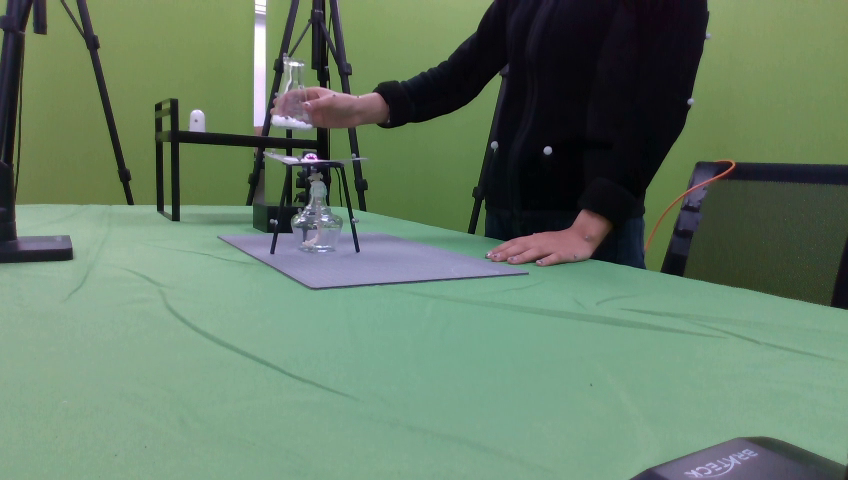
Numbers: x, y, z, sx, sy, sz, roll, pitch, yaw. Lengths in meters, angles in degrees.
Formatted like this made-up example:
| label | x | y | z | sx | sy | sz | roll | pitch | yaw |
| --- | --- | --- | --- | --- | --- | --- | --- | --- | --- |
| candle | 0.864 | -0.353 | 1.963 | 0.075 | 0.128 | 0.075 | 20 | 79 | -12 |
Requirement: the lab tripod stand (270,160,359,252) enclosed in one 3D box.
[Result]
| label | x | y | z | sx | sy | sz | roll | pitch | yaw |
| --- | --- | --- | --- | --- | --- | --- | --- | --- | --- |
| lab tripod stand | -0.166 | -0.051 | 0.892 | 0.148 | 0.131 | 0.148 | 3 | 9 | 0 |

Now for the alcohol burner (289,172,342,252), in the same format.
| label | x | y | z | sx | sy | sz | roll | pitch | yaw |
| --- | --- | --- | --- | --- | --- | --- | --- | --- | --- |
| alcohol burner | -0.160 | -0.042 | 0.899 | 0.078 | 0.119 | 0.078 | 4 | 9 | 0 |

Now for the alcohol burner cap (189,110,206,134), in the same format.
| label | x | y | z | sx | sy | sz | roll | pitch | yaw |
| --- | --- | --- | --- | --- | --- | --- | --- | --- | --- |
| alcohol burner cap | -0.464 | -0.242 | 1.240 | 0.034 | 0.048 | 0.034 | 4 | 6 | 0 |

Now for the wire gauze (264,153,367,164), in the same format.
| label | x | y | z | sx | sy | sz | roll | pitch | yaw |
| --- | --- | --- | --- | --- | --- | --- | --- | --- | --- |
| wire gauze | -0.160 | -0.118 | 0.888 | 0.122 | 0.011 | 0.124 | -3 | 10 | -32 |

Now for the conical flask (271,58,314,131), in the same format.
| label | x | y | z | sx | sy | sz | roll | pitch | yaw |
| --- | --- | --- | --- | --- | --- | --- | --- | --- | --- |
| conical flask | -0.229 | -0.256 | 1.067 | 0.075 | 0.122 | 0.075 | 5 | 10 | -1 |
